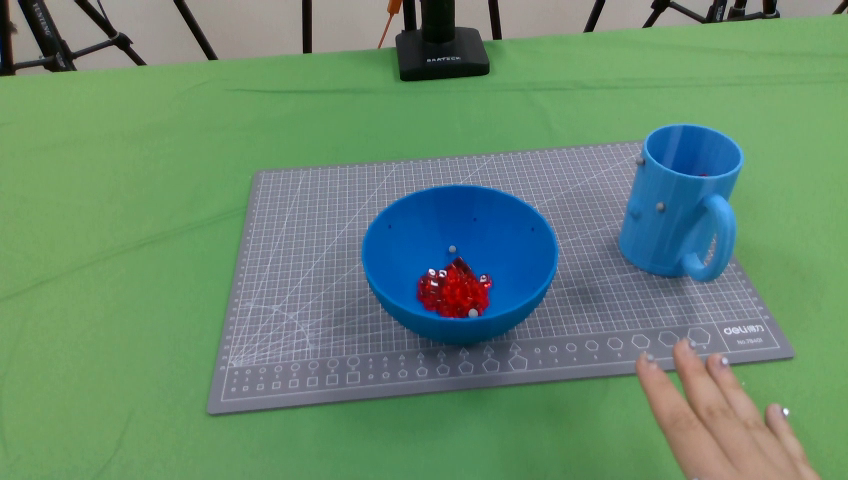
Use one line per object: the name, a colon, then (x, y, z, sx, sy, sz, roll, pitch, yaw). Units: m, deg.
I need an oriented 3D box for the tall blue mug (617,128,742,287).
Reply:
tall blue mug: (0.223, -0.021, 0.511, 0.078, 0.109, 0.106, -29, 50, -26)

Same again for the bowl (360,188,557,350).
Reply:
bowl: (0.027, 0.034, 0.484, 0.151, 0.077, 0.150, -1, 43, 1)
